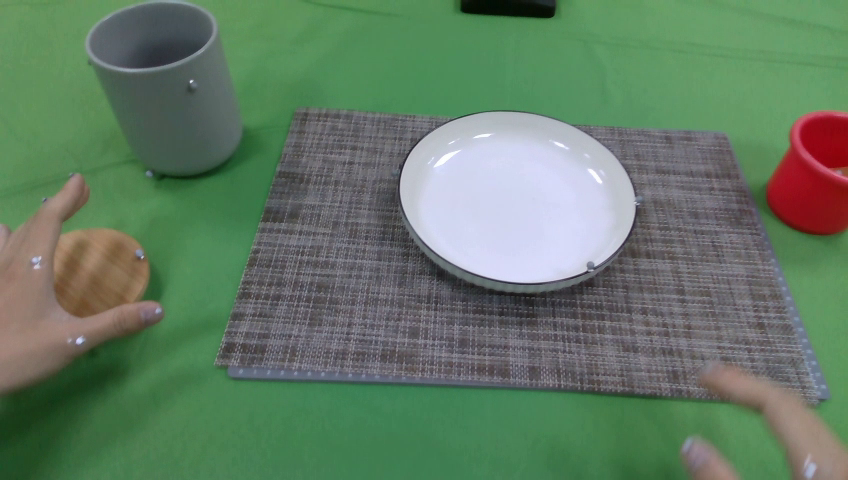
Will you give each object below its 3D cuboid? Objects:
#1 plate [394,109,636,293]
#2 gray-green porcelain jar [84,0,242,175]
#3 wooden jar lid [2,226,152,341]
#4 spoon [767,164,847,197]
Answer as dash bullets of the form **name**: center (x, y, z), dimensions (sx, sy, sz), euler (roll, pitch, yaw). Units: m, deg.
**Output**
- **plate**: center (0.078, -0.035, 0.537), dimensions (0.208, 0.039, 0.205), euler (1, 51, -1)
- **gray-green porcelain jar**: center (-0.226, -0.131, 0.548), dimensions (0.106, 0.127, 0.105), euler (1, 51, -1)
- **wooden jar lid**: center (-0.272, 0.035, 0.482), dimensions (0.108, 0.021, 0.107), euler (2, 52, -3)
- **spoon**: center (0.398, -0.067, 0.513), dimensions (0.193, 0.022, 0.041), euler (-15, 33, 46)
